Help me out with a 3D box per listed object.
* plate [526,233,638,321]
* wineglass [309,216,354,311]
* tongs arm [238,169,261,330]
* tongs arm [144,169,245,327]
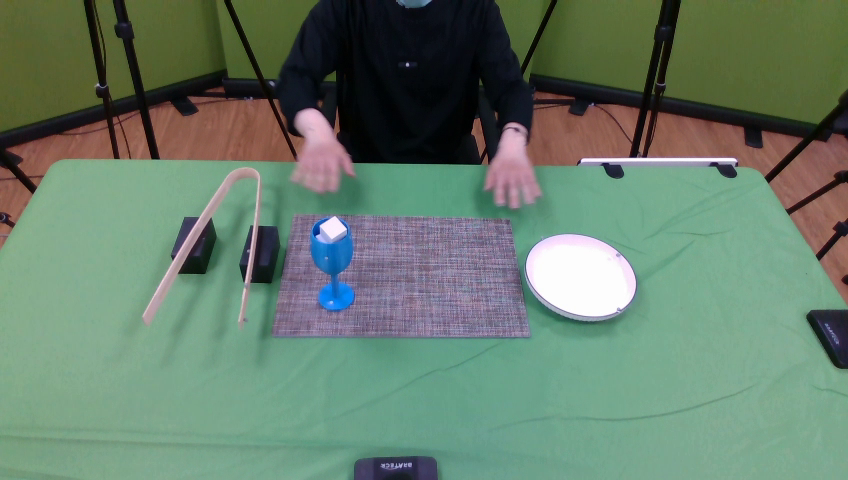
[{"bbox_3d":[0.292,0.071,1.135,0.209,0.038,0.208,2,46,-2],"label":"plate"},{"bbox_3d":[-0.155,0.043,1.032,0.074,0.173,0.073,2,46,-2],"label":"wineglass"},{"bbox_3d":[-0.329,0.001,1.102,0.051,0.026,0.382,-2,46,-3],"label":"tongs arm"},{"bbox_3d":[-0.409,-0.002,1.100,0.028,0.028,0.385,5,45,9],"label":"tongs arm"}]
